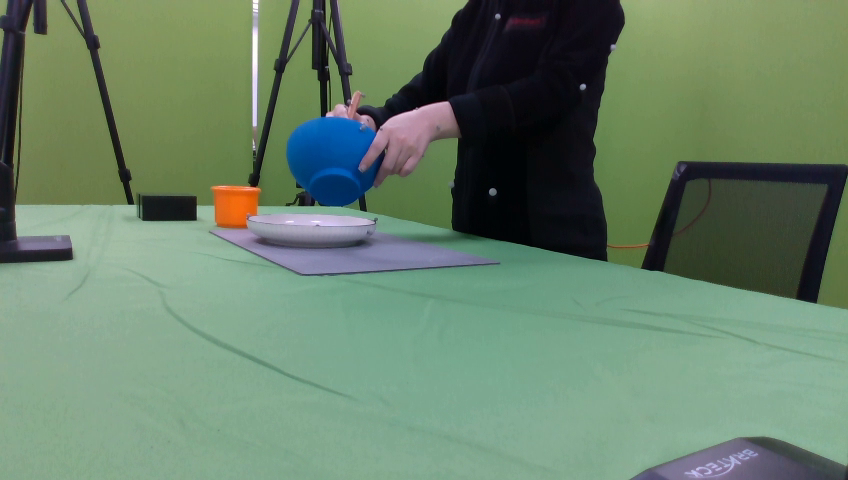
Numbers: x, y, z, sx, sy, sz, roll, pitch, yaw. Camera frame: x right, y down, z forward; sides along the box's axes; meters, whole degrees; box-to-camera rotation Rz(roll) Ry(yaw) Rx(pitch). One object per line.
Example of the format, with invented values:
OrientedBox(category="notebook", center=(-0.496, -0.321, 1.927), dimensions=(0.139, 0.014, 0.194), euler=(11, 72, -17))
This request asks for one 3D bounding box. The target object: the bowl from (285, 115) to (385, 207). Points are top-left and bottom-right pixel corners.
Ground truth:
OrientedBox(category="bowl", center=(-0.132, -0.103, 0.898), dimensions=(0.151, 0.076, 0.151), euler=(-3, -36, -2))

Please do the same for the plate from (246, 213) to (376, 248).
OrientedBox(category="plate", center=(-0.185, -0.017, 0.994), dimensions=(0.209, 0.038, 0.209), euler=(3, 8, 0))

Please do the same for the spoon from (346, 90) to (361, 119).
OrientedBox(category="spoon", center=(-0.129, -0.166, 0.962), dimensions=(0.041, 0.193, 0.021), euler=(11, -33, 0))
